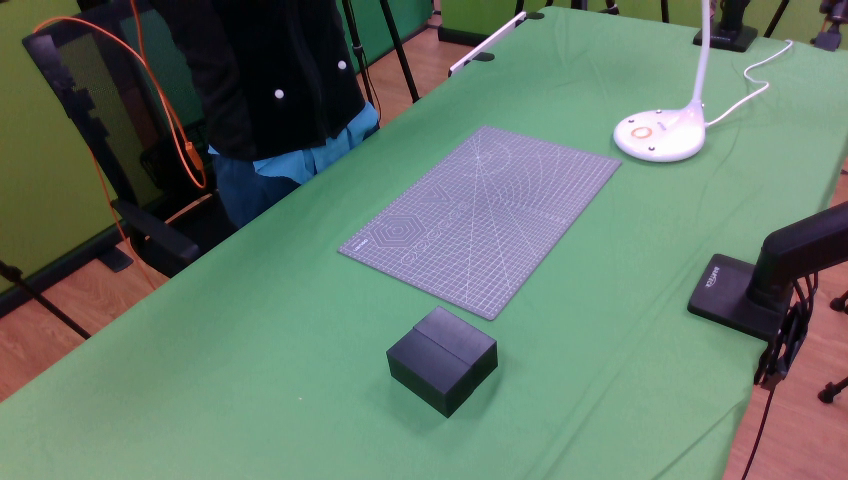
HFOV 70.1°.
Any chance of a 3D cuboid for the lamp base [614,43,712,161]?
[{"bbox_3d":[0.441,-0.257,1.081,0.180,0.181,0.159,-15,41,-12],"label":"lamp base"}]
